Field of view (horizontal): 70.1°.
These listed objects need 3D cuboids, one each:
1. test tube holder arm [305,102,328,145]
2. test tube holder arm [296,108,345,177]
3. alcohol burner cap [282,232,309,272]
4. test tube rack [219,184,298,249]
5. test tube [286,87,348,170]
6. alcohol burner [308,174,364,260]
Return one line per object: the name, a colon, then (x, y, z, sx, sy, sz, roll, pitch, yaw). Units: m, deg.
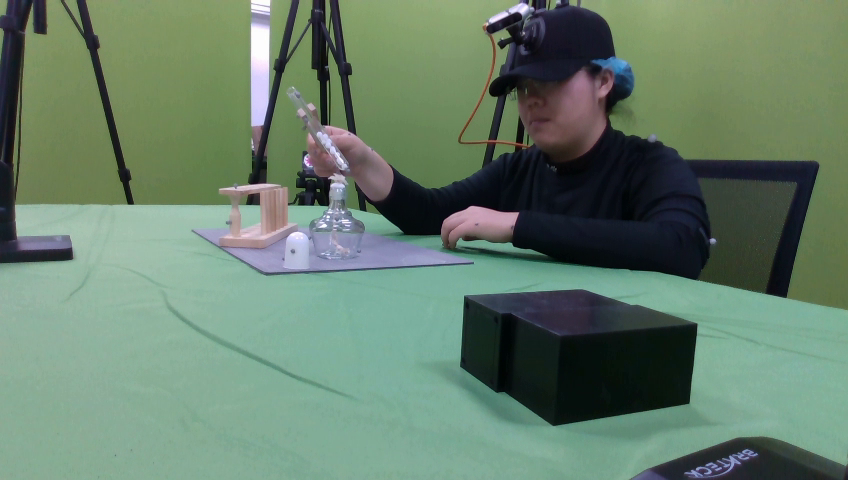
test tube holder arm: (-0.154, -0.164, 0.870, 0.010, 0.015, 0.088, -36, -24, -14)
test tube holder arm: (-0.152, -0.142, 0.910, 0.015, 0.013, 0.179, 49, -7, 24)
alcohol burner cap: (-0.157, 0.014, 0.740, 0.034, 0.048, 0.034, 3, 6, 0)
test tube rack: (-0.266, -0.046, 1.001, 0.067, 0.085, 0.242, 3, 7, 0)
test tube: (-0.149, -0.156, 0.844, 0.017, 0.150, 0.017, -33, -16, -10)
alcohol burner: (-0.121, -0.033, 0.841, 0.078, 0.119, 0.078, 3, 5, 0)
